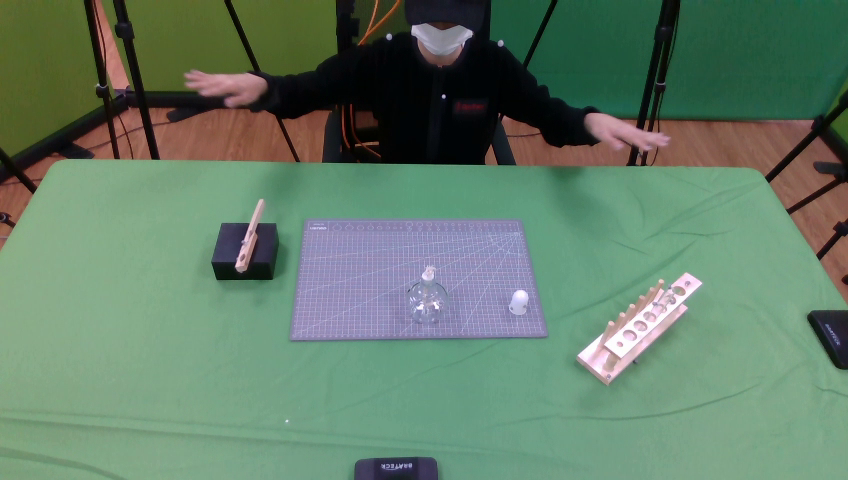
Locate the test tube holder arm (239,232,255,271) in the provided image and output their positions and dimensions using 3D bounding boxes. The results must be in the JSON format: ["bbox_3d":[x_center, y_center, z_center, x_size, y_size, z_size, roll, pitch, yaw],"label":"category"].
[{"bbox_3d":[-0.317,0.020,1.089,0.010,0.015,0.087,1,45,-2],"label":"test tube holder arm"}]

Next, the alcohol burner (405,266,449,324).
[{"bbox_3d":[0.005,0.089,1.043,0.078,0.120,0.077,1,45,-1],"label":"alcohol burner"}]

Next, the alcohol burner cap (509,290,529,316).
[{"bbox_3d":[0.171,0.110,1.086,0.034,0.048,0.033,2,45,-2],"label":"alcohol burner cap"}]

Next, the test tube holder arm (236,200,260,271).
[{"bbox_3d":[-0.324,-0.012,1.120,0.013,0.015,0.177,0,45,-3],"label":"test tube holder arm"}]

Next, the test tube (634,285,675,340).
[{"bbox_3d":[0.376,0.122,0.993,0.017,0.151,0.017,3,50,-3],"label":"test tube"}]

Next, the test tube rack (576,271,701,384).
[{"bbox_3d":[0.373,0.138,1.047,0.242,0.085,0.066,-31,56,-29],"label":"test tube rack"}]
